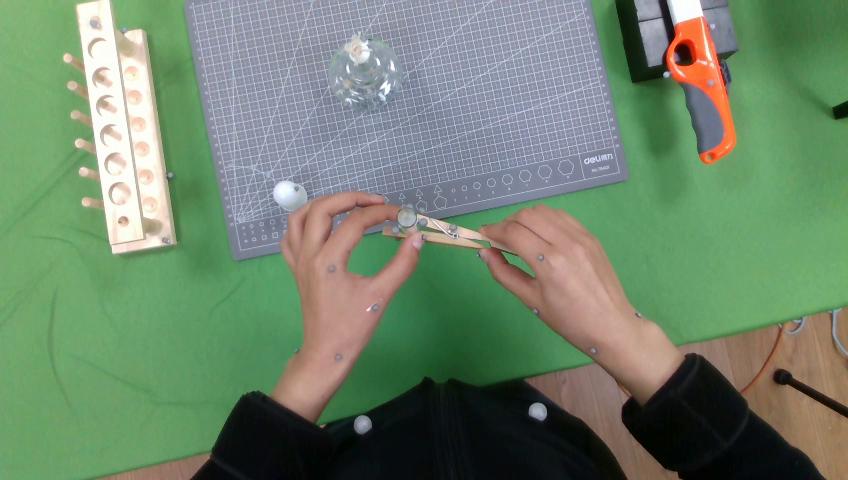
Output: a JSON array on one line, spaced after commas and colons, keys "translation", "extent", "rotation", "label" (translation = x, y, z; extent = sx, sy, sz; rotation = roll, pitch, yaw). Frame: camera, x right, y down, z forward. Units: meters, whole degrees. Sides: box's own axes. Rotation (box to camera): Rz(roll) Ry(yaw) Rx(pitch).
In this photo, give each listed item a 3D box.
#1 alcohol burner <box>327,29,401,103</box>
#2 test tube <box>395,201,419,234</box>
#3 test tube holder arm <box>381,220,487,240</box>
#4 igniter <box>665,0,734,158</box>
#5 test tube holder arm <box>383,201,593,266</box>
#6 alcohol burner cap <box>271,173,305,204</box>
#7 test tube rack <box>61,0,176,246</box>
[{"translation": [-0.064, -0.184, 0.622], "extent": [0.078, 0.119, 0.078], "rotation": [0, 88, 0], "label": "alcohol burner"}, {"translation": [-0.013, -0.017, 0.501], "extent": [0.017, 0.150, 0.017], "rotation": [0, 87, 0], "label": "test tube"}, {"translation": [0.008, -0.008, 0.501], "extent": [0.088, 0.015, 0.010], "rotation": [5, 93, -1], "label": "test tube holder arm"}, {"translation": [0.275, -0.222, 0.630], "extent": [0.057, 0.025, 0.276], "rotation": [-13, 87, 10], "label": "igniter"}, {"translation": [0.054, -0.005, 0.502], "extent": [0.178, 0.015, 0.013], "rotation": [14, 94, -2], "label": "test tube holder arm"}, {"translation": [-0.148, -0.057, 0.650], "extent": [0.034, 0.048, 0.034], "rotation": [0, 87, -2], "label": "alcohol burner cap"}, {"translation": [-0.325, -0.120, 0.630], "extent": [0.067, 0.085, 0.242], "rotation": [-10, 88, -1], "label": "test tube rack"}]
